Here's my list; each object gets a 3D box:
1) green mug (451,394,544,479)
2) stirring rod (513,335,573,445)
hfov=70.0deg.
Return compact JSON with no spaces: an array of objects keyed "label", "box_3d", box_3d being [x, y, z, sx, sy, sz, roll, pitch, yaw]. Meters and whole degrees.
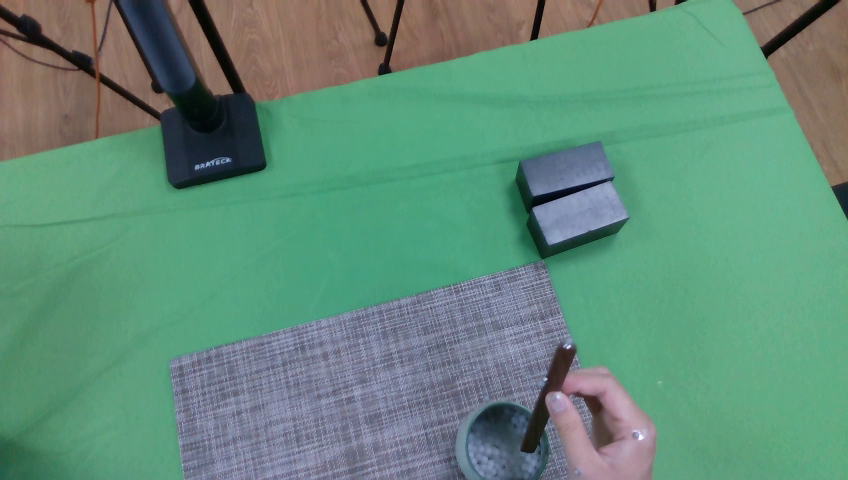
[{"label":"green mug","box_3d":[0.082,0.214,0.604,0.092,0.105,0.124,-31,73,-9]},{"label":"stirring rod","box_3d":[0.092,0.127,0.485,0.014,0.177,0.005,7,49,2]}]
